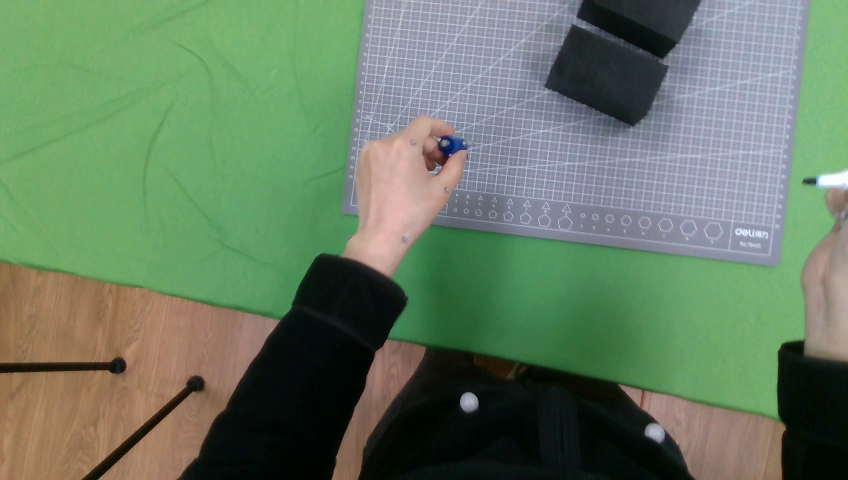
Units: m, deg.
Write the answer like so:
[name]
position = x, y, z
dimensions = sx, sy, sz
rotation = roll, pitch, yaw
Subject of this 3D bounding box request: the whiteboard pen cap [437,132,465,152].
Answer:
[whiteboard pen cap]
position = 0.025, -0.090, 0.557
dimensions = 0.018, 0.033, 0.018
rotation = 3, 96, 24

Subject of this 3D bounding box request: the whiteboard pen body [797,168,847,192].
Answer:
[whiteboard pen body]
position = 0.306, -0.038, 0.367
dimensions = 0.140, 0.017, 0.017
rotation = 0, 89, 18
